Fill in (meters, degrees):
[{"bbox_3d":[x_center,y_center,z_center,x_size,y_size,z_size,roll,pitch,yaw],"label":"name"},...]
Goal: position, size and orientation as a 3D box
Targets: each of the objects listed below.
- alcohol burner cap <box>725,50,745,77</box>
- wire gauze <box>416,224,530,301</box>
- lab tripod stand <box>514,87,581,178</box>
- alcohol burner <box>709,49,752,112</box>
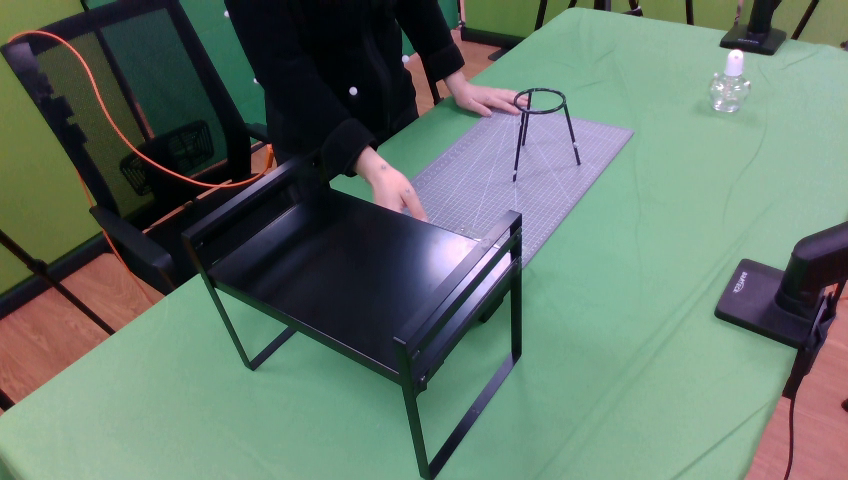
[{"bbox_3d":[0.596,-0.340,1.154,0.034,0.048,0.033,-8,45,8],"label":"alcohol burner cap"},{"bbox_3d":[0.071,0.025,0.872,0.124,0.011,0.122,27,50,33],"label":"wire gauze"},{"bbox_3d":[0.211,-0.196,1.083,0.148,0.132,0.147,-3,39,3],"label":"lab tripod stand"},{"bbox_3d":[0.600,-0.313,1.178,0.078,0.119,0.077,-5,40,5],"label":"alcohol burner"}]
